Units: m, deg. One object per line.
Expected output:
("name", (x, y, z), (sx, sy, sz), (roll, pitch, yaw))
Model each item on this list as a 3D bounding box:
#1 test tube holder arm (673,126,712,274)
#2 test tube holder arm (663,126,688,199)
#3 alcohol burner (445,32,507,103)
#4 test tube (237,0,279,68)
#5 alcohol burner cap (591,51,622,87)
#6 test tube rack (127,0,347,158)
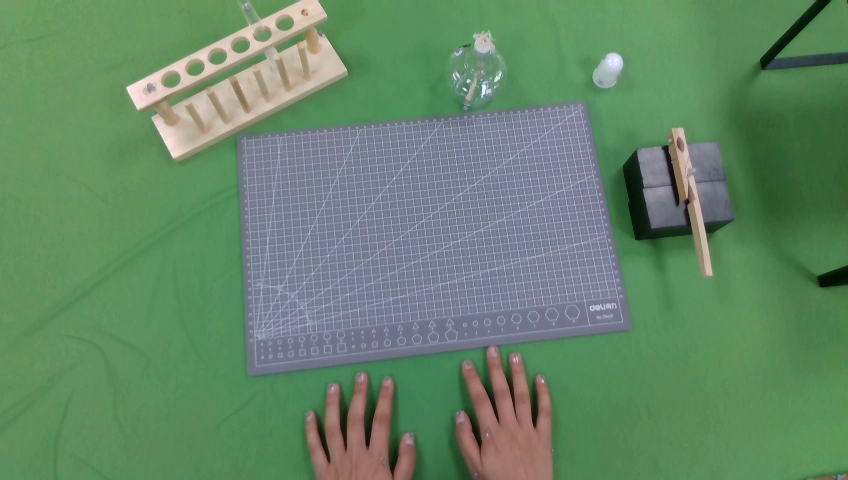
("test tube holder arm", (0.309, -0.048, 0.703), (0.013, 0.015, 0.177), (-8, 77, -5))
("test tube holder arm", (0.298, -0.091, 0.712), (0.010, 0.015, 0.087), (-7, 77, -4))
("alcohol burner", (0.065, -0.218, 0.739), (0.078, 0.119, 0.077), (1, 77, -2))
("test tube", (-0.193, -0.251, 0.700), (0.017, 0.151, 0.017), (-3, 66, 7))
("alcohol burner cap", (0.238, -0.224, 0.783), (0.034, 0.048, 0.033), (0, 75, 0))
("test tube rack", (-0.219, -0.199, 0.739), (0.242, 0.085, 0.066), (-30, 78, -9))
